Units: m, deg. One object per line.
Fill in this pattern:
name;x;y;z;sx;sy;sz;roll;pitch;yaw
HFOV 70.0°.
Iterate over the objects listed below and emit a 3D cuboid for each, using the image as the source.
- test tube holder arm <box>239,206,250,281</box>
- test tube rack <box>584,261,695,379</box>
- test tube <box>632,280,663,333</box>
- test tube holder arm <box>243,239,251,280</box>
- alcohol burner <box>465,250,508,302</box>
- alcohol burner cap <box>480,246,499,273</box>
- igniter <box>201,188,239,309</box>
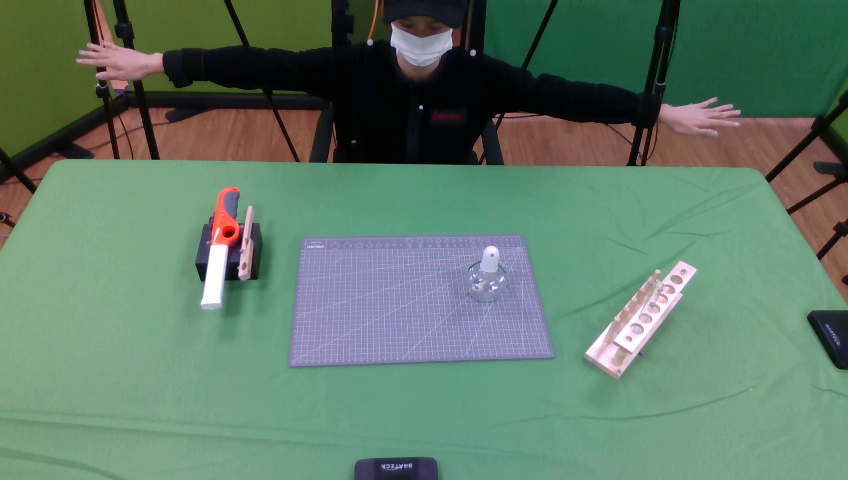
test tube holder arm;-0.327;0.002;1.106;0.013;0.015;0.177;-7;48;-7
test tube rack;0.380;0.127;1.062;0.066;0.085;0.242;34;53;26
test tube;0.363;0.121;0.997;0.017;0.151;0.017;2;44;-1
test tube holder arm;-0.314;0.034;1.077;0.010;0.015;0.087;-6;47;-6
alcohol burner;0.114;0.057;1.085;0.078;0.120;0.077;2;48;-2
alcohol burner cap;0.117;0.032;1.060;0.034;0.048;0.033;3;42;-3
igniter;-0.367;0.006;1.095;0.057;0.025;0.274;-2;49;-7
